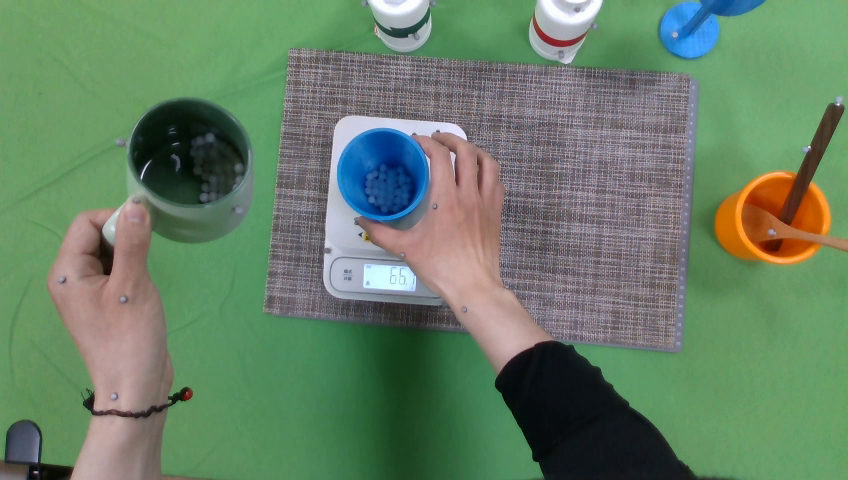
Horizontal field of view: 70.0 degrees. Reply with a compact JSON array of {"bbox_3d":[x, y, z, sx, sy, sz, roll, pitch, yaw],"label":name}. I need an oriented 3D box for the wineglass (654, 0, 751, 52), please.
[{"bbox_3d":[0.284,-0.246,0.589,0.074,0.172,0.073,0,86,3],"label":"wineglass"}]

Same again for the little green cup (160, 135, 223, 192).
[{"bbox_3d":[-0.254,-0.082,0.671,0.061,0.038,0.061,0,87,2],"label":"little green cup"}]

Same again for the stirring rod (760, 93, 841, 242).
[{"bbox_3d":[0.361,-0.063,0.587,0.014,0.178,0.006,13,47,17],"label":"stirring rod"}]

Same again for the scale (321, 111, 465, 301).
[{"bbox_3d":[-0.034,-0.037,0.659,0.148,0.031,0.200,4,87,3],"label":"scale"}]

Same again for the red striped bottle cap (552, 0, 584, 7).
[{"bbox_3d":[0.137,-0.244,0.568,0.044,0.018,0.044,0,84,3],"label":"red striped bottle cap"}]

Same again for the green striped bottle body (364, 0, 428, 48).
[{"bbox_3d":[-0.030,-0.251,0.630,0.063,0.119,0.063,0,87,3],"label":"green striped bottle body"}]

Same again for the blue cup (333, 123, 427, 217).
[{"bbox_3d":[-0.040,-0.061,0.595,0.093,0.100,0.092,0,87,-1],"label":"blue cup"}]

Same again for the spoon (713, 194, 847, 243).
[{"bbox_3d":[0.376,-0.009,0.584,0.022,0.192,0.041,14,96,-40],"label":"spoon"}]

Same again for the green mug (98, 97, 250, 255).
[{"bbox_3d":[-0.186,-0.038,0.447,0.093,0.105,0.125,42,69,-9],"label":"green mug"}]

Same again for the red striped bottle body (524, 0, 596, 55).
[{"bbox_3d":[0.140,-0.241,0.622,0.063,0.120,0.063,0,86,3],"label":"red striped bottle body"}]
